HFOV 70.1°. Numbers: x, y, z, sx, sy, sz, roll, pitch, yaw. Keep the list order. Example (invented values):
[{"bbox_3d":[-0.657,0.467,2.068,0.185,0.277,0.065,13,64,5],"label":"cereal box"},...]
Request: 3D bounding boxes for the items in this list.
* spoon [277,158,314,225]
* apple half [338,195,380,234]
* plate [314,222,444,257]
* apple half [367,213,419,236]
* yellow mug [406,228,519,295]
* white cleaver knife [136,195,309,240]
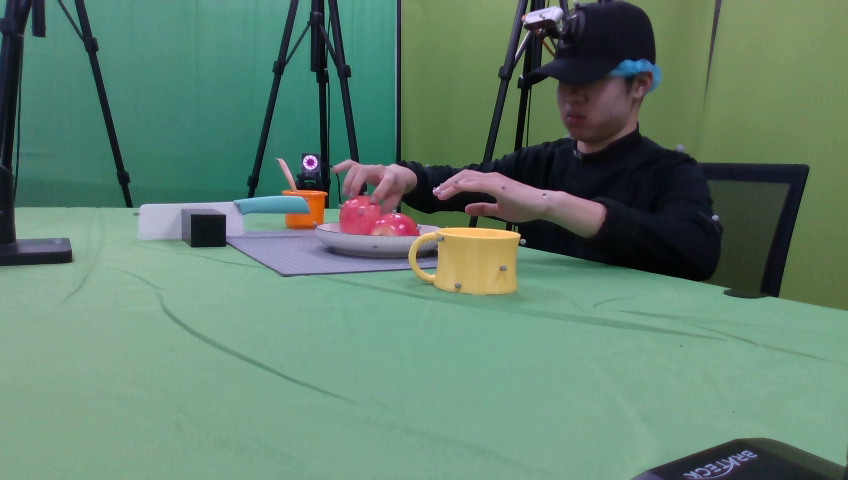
[{"bbox_3d":[-0.272,-0.103,1.260,0.042,0.193,0.021,-5,-34,-33],"label":"spoon"},{"bbox_3d":[-0.110,-0.038,0.980,0.081,0.081,0.033,6,-12,24],"label":"apple half"},{"bbox_3d":[-0.066,-0.002,0.948,0.209,0.038,0.209,3,7,0],"label":"plate"},{"bbox_3d":[-0.049,-0.015,0.938,0.080,0.053,0.075,8,7,31],"label":"apple half"},{"bbox_3d":[0.044,0.022,0.707,0.131,0.064,0.100,2,7,4],"label":"yellow mug"},{"bbox_3d":[-0.337,-0.039,1.037,0.288,0.066,0.021,-6,15,-29],"label":"white cleaver knife"}]
